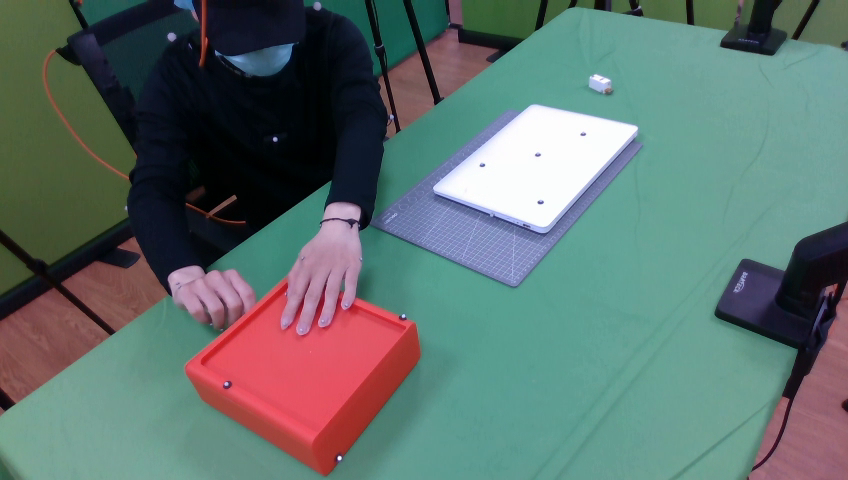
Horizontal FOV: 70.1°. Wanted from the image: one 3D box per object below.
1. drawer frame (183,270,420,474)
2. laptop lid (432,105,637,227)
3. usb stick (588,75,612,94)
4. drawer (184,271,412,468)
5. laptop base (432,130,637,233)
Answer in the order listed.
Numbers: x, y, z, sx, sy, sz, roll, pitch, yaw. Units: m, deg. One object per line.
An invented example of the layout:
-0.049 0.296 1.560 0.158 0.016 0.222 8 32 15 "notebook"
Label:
-0.149 0.153 0.767 0.212 0.083 0.202 19 46 27 "drawer frame"
0.207 -0.152 1.105 0.239 0.013 0.358 23 49 34 "laptop lid"
0.381 -0.333 1.304 0.021 0.027 0.058 -25 46 -22 "usb stick"
-0.154 0.153 0.769 0.210 0.073 0.195 20 47 28 "drawer"
0.210 -0.142 1.111 0.233 0.023 0.355 21 47 34 "laptop base"
